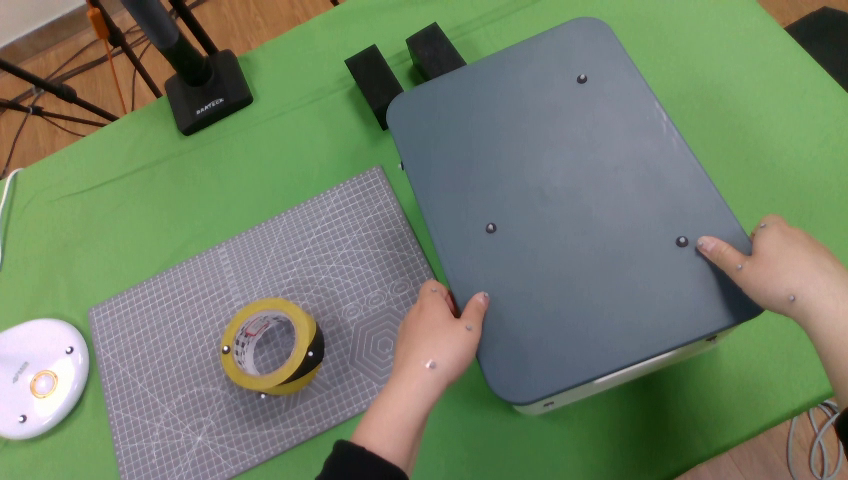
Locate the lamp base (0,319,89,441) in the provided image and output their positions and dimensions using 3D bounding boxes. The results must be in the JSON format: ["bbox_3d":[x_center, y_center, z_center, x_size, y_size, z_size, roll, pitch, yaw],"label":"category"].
[{"bbox_3d":[-0.546,0.151,0.735,0.178,0.182,0.160,9,70,19],"label":"lamp base"}]

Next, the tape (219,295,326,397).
[{"bbox_3d":[-0.183,0.128,0.733,0.116,0.053,0.116,-4,67,10],"label":"tape"}]

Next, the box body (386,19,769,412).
[{"bbox_3d":[0.141,-0.022,0.660,0.254,0.162,0.360,-23,64,3],"label":"box body"}]

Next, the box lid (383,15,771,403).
[{"bbox_3d":[0.125,-0.054,0.594,0.263,0.015,0.368,-22,64,2],"label":"box lid"}]
